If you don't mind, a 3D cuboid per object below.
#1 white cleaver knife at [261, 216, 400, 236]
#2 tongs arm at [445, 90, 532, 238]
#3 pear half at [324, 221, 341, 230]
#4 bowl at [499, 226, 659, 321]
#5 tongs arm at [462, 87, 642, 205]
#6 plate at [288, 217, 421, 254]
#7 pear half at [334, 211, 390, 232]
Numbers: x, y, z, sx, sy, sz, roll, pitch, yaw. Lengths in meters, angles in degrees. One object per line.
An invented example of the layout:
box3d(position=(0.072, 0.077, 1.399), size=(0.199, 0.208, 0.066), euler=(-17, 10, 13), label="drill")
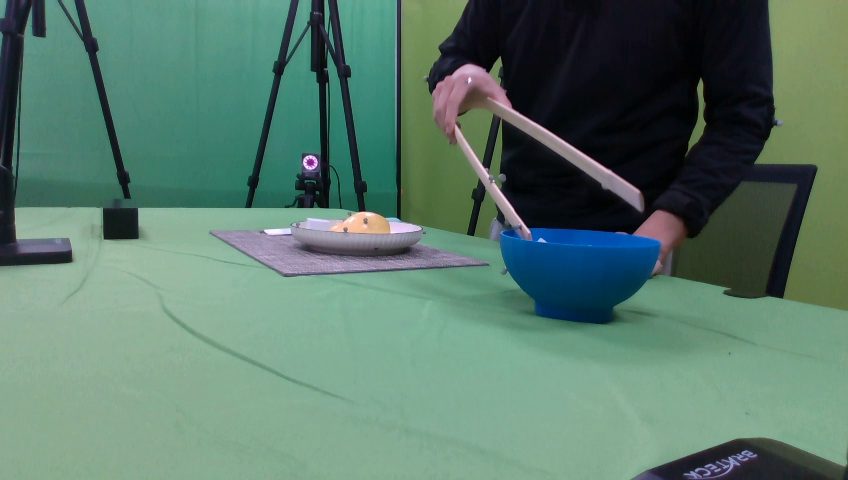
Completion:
box3d(position=(-0.169, -0.021, 1.156), size=(0.288, 0.021, 0.065), euler=(-7, 20, -33), label="white cleaver knife")
box3d(position=(0.079, -0.104, 0.737), size=(0.051, 0.026, 0.383), euler=(-23, 34, 0), label="tongs arm")
box3d(position=(-0.126, -0.019, 1.001), size=(0.088, 0.031, 0.070), euler=(8, 4, 1), label="pear half")
box3d(position=(0.145, 0.032, 0.585), size=(0.151, 0.077, 0.151), euler=(2, 7, 0), label="bowl")
box3d(position=(0.138, -0.129, 0.741), size=(0.028, 0.028, 0.385), euler=(-31, 35, -5), label="tongs arm")
box3d(position=(-0.109, -0.007, 0.956), size=(0.208, 0.039, 0.207), euler=(2, 7, 0), label="plate")
box3d(position=(-0.107, -0.016, 0.920), size=(0.110, 0.056, 0.076), euler=(-4, 5, -20), label="pear half")
